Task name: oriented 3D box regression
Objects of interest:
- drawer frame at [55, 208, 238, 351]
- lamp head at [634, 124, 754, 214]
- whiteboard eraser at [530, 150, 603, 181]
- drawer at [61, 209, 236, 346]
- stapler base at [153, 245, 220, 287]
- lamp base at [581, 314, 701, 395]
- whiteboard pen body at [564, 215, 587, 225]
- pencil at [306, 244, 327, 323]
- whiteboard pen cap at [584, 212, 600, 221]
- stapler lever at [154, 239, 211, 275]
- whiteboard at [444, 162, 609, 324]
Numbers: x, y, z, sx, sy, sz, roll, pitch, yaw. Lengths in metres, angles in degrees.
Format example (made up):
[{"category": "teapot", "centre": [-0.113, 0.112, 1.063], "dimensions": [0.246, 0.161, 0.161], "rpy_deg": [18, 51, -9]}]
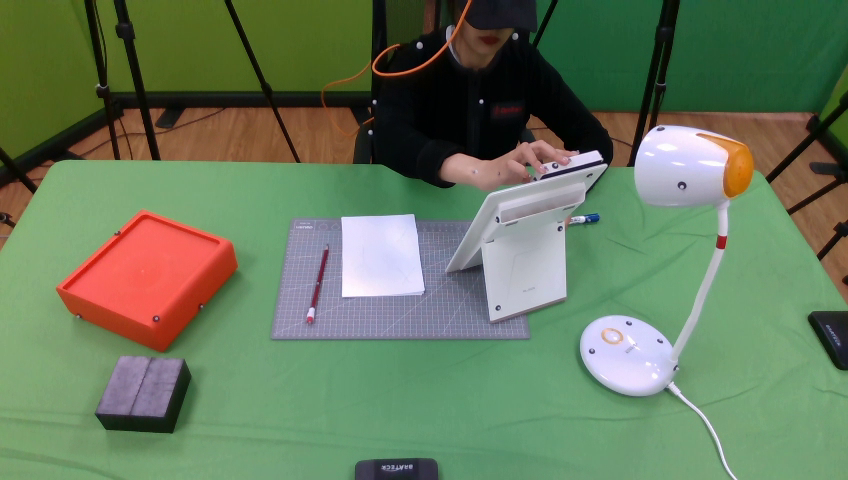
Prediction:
[{"category": "drawer frame", "centre": [-0.474, 0.062, 1.059], "dimensions": [0.201, 0.083, 0.213], "rpy_deg": [18, 48, 12]}, {"category": "lamp head", "centre": [0.351, -0.089, 0.776], "dimensions": [0.112, 0.113, 0.122], "rpy_deg": [-30, 30, -28]}, {"category": "whiteboard eraser", "centre": [0.232, -0.110, 0.986], "dimensions": [0.113, 0.056, 0.041], "rpy_deg": [-16, 67, -14]}, {"category": "drawer", "centre": [-0.474, 0.061, 1.062], "dimensions": [0.194, 0.073, 0.211], "rpy_deg": [19, 49, 13]}, {"category": "stapler base", "centre": [-0.435, 0.042, 1.108], "dimensions": [0.130, 0.024, 0.041], "rpy_deg": [23, 50, 15]}, {"category": "lamp base", "centre": [0.361, 0.145, 0.973], "dimensions": [0.178, 0.181, 0.160], "rpy_deg": [34, 53, 23]}, {"category": "whiteboard pen body", "centre": [0.292, -0.040, 1.261], "dimensions": [0.141, 0.017, 0.017], "rpy_deg": [-7, 47, -10]}, {"category": "pencil", "centre": [-0.196, 0.076, 1.115], "dimensions": [0.012, 0.012, 0.193], "rpy_deg": [4, 44, 0]}, {"category": "whiteboard pen cap", "centre": [0.351, -0.048, 1.271], "dimensions": [0.033, 0.018, 0.018], "rpy_deg": [-6, 47, -11]}, {"category": "stapler lever", "centre": [-0.435, 0.027, 1.090], "dimensions": [0.118, 0.040, 0.027], "rpy_deg": [24, 50, 14]}, {"category": "whiteboard", "centre": [0.186, 0.026, 1.029], "dimensions": [0.217, 0.306, 0.143], "rpy_deg": [-14, 68, -18]}]
